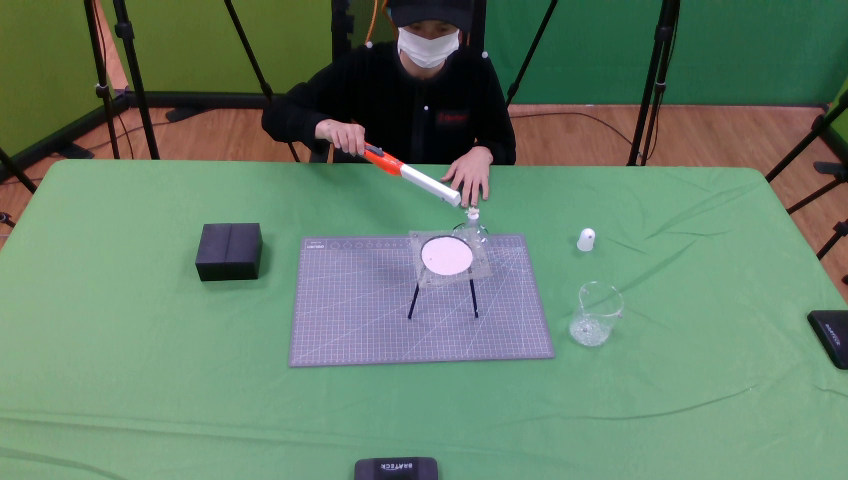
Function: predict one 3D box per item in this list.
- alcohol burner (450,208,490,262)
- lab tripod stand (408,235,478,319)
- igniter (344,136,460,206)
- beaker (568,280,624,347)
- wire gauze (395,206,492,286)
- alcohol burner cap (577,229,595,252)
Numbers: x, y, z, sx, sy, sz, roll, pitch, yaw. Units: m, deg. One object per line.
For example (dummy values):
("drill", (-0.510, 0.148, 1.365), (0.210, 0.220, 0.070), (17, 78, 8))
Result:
("alcohol burner", (0.088, -0.015, 1.153), (0.078, 0.120, 0.077), (1, 47, -1))
("lab tripod stand", (0.032, 0.065, 1.057), (0.148, 0.132, 0.147), (1, 45, -1))
("igniter", (-0.049, -0.134, 1.142), (0.275, 0.057, 0.025), (30, 69, 24))
("beaker", (0.290, 0.132, 1.041), (0.084, 0.101, 0.073), (-34, 57, -31))
("wire gauze", (0.031, 0.010, 0.993), (0.125, 0.011, 0.120), (-25, 57, -17))
("alcohol burner cap", (0.326, -0.002, 1.213), (0.034, 0.048, 0.033), (1, 47, -1))
